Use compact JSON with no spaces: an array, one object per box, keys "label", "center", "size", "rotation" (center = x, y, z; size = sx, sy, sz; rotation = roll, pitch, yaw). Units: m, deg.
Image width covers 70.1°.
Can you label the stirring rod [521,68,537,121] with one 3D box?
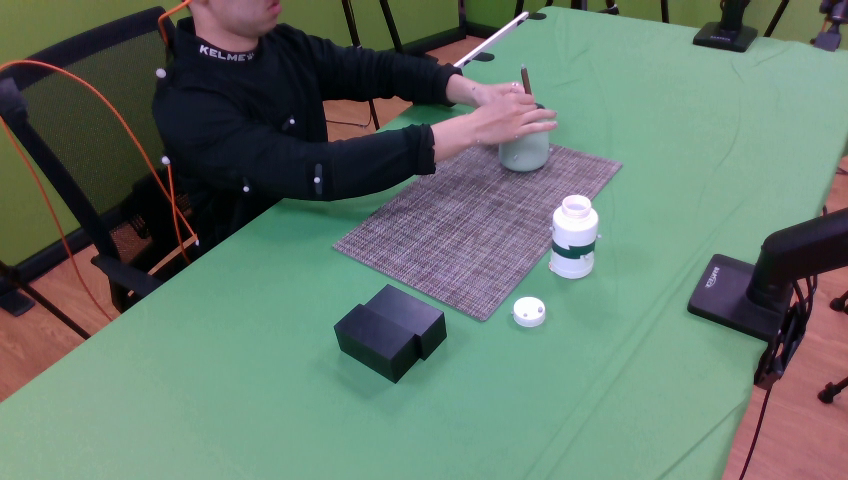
[{"label":"stirring rod","center":[0.191,-0.215,1.057],"size":[0.005,0.177,0.014],"rotation":[10,40,40]}]

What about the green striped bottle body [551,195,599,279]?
[{"label":"green striped bottle body","center":[0.217,-0.007,0.870],"size":[0.063,0.120,0.063],"rotation":[-4,41,4]}]

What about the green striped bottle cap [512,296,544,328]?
[{"label":"green striped bottle cap","center":[0.144,0.099,0.837],"size":[0.044,0.020,0.044],"rotation":[-1,43,2]}]

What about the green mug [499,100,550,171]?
[{"label":"green mug","center":[0.183,-0.197,1.101],"size":[0.092,0.105,0.125],"rotation":[1,41,9]}]
